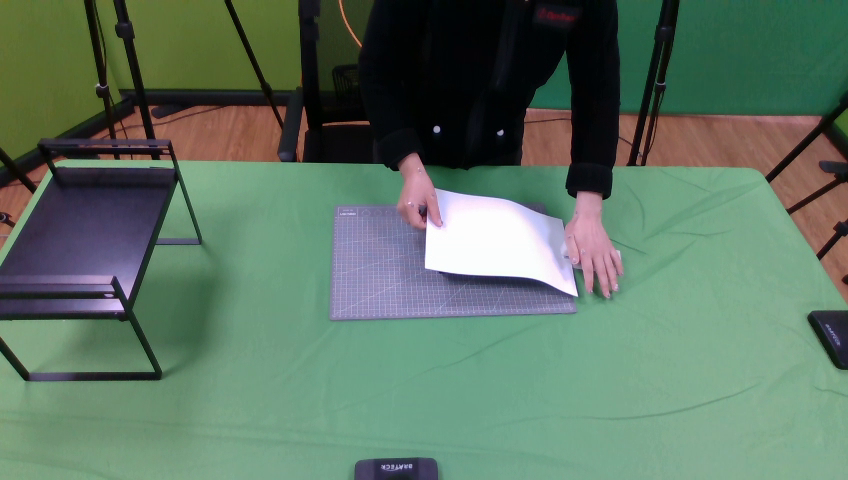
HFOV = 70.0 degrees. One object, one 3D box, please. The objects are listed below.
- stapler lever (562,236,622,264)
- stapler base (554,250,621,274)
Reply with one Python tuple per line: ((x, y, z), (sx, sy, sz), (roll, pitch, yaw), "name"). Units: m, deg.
((0.325, 0.019, 1.166), (0.118, 0.040, 0.026), (8, 49, 0), "stapler lever")
((0.321, 0.037, 1.184), (0.130, 0.024, 0.041), (8, 49, 0), "stapler base")
